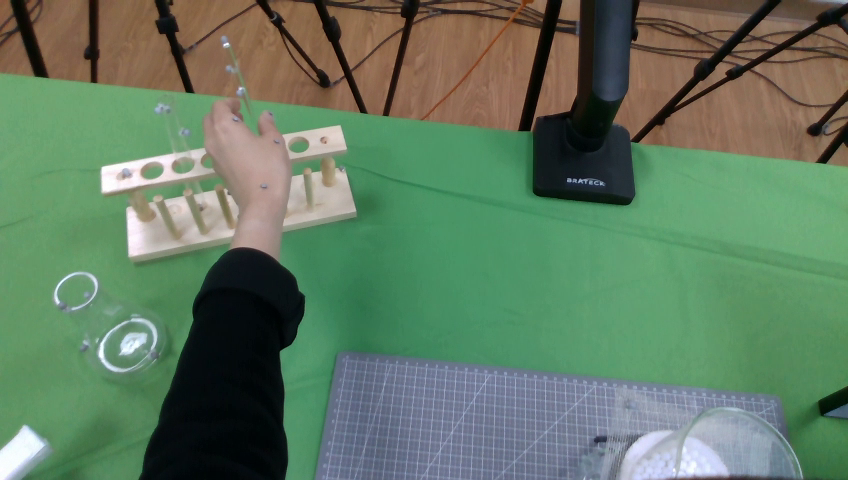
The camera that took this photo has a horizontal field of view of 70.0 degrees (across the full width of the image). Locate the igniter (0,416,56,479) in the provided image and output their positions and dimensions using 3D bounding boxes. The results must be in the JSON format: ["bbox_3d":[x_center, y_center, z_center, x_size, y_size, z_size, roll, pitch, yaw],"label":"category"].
[{"bbox_3d":[-0.401,0.247,0.444,0.057,0.025,0.276,30,62,24],"label":"igniter"}]

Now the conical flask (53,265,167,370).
[{"bbox_3d":[-0.291,0.066,0.555,0.075,0.123,0.074,2,60,-2],"label":"conical flask"}]

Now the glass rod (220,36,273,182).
[{"bbox_3d":[-0.173,-0.118,0.613,0.008,0.201,0.008,-1,53,2],"label":"glass rod"}]

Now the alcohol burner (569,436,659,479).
[{"bbox_3d":[0.166,0.201,0.510,0.078,0.120,0.077,3,59,-4],"label":"alcohol burner"}]

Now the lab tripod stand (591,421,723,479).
[{"bbox_3d":[0.176,0.209,0.494,0.148,0.132,0.147,3,59,-4],"label":"lab tripod stand"}]

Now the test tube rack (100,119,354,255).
[{"bbox_3d":[-0.203,-0.057,0.652,0.243,0.086,0.066,-13,61,-11],"label":"test tube rack"}]

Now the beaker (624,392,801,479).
[{"bbox_3d":[0.177,0.152,0.395,0.084,0.101,0.073,-15,63,-12],"label":"beaker"}]

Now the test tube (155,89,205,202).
[{"bbox_3d":[-0.243,-0.090,0.611,0.017,0.151,0.017,3,54,-3],"label":"test tube"}]

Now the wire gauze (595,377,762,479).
[{"bbox_3d":[0.186,0.173,0.440,0.121,0.011,0.124,19,59,4],"label":"wire gauze"}]
